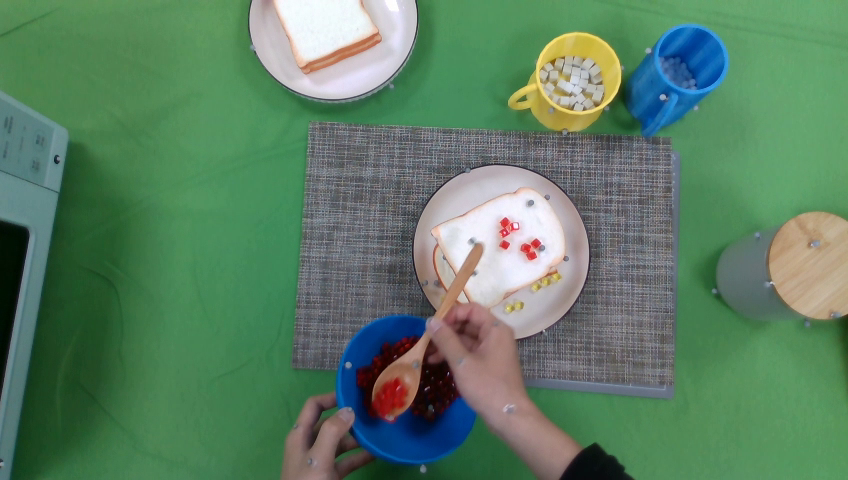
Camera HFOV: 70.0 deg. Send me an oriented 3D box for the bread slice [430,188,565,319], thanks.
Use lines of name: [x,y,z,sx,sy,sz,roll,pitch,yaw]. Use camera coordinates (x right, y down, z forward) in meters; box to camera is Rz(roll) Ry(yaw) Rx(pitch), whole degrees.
bread slice: [0.084,0.005,0.654,0.134,0.018,0.107,-31,90,-12]

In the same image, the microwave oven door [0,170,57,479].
microwave oven door: [-0.467,0.097,0.580,0.039,0.244,0.354,5,82,1]

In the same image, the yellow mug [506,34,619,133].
yellow mug: [0.162,-0.182,0.729,0.131,0.064,0.099,-17,82,-1]

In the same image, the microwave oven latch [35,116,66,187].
microwave oven latch: [-0.444,-0.105,0.709,0.030,0.029,0.079,9,83,1]

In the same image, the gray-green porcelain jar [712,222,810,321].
gray-green porcelain jar: [0.392,0.037,0.671,0.106,0.127,0.105,0,82,0]

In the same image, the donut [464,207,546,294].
donut: [0.092,0.012,0.685,0.099,0.048,0.098,3,82,-18]

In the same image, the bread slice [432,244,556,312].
bread slice: [0.077,0.024,0.713,0.131,0.019,0.104,-29,82,-5]

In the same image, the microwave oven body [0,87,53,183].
microwave oven body: [-0.608,0.042,0.591,0.326,0.261,0.440,5,83,0]

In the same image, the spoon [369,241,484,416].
spoon: [0.008,0.084,0.591,0.041,0.022,0.193,32,89,7]

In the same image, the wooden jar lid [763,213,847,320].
wooden jar lid: [0.391,0.027,0.609,0.108,0.021,0.108,0,85,-2]

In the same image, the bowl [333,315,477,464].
bowl: [-0.029,0.161,0.625,0.152,0.077,0.150,14,56,-21]

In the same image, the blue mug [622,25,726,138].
blue mug: [0.282,-0.174,0.710,0.082,0.106,0.116,24,83,4]

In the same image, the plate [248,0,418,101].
plate: [-0.111,-0.269,0.753,0.208,0.039,0.207,0,82,0]

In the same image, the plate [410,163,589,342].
plate: [0.087,0.015,0.712,0.209,0.038,0.208,0,82,0]
